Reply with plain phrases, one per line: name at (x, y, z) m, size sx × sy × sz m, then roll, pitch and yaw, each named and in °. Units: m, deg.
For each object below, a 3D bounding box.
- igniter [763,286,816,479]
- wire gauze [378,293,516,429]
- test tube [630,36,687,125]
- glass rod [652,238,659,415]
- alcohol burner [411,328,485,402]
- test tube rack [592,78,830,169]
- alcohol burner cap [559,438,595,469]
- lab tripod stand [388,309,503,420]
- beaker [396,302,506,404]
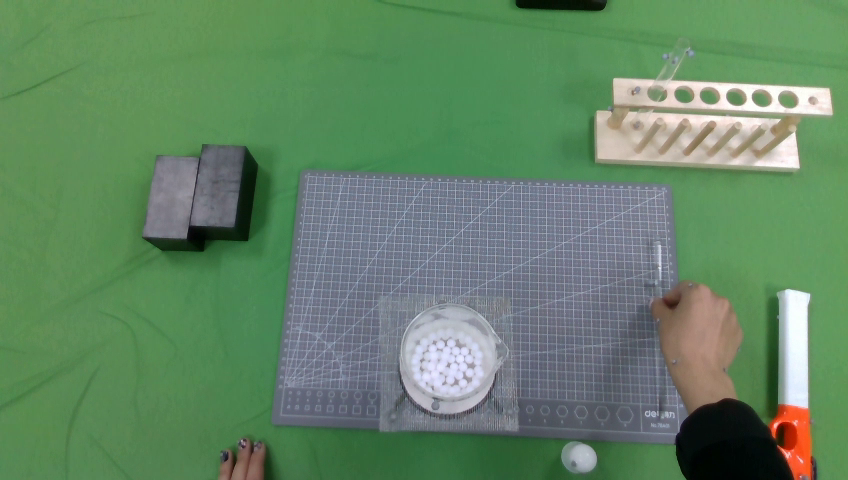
igniter at (0.391, 0.185, 0.649) m, size 0.057 × 0.025 × 0.275 m, roll 12°, pitch 74°, yaw -7°
wire gauze at (0.019, 0.108, 0.546) m, size 0.125 × 0.011 × 0.120 m, roll -1°, pitch 71°, yaw 2°
test tube at (0.257, -0.172, 0.673) m, size 0.017 × 0.151 × 0.017 m, roll 0°, pitch 70°, yaw 2°
glass rod at (0.260, 0.094, 0.681) m, size 0.008 × 0.008 × 0.198 m, roll 5°, pitch 76°, yaw 1°
alcohol burner at (0.025, 0.126, 0.620) m, size 0.078 × 0.120 × 0.077 m, roll 0°, pitch 72°, yaw -1°
test tube rack at (0.330, -0.135, 0.713) m, size 0.242 × 0.085 × 0.066 m, roll 3°, pitch 73°, yaw 1°
alcohol burner cap at (0.161, 0.224, 0.632) m, size 0.034 × 0.048 × 0.033 m, roll 0°, pitch 73°, yaw 1°
lab tripod stand at (0.019, 0.130, 0.609) m, size 0.148 × 0.132 × 0.147 m, roll -1°, pitch 72°, yaw 2°
beaker at (0.021, 0.097, 0.499) m, size 0.084 × 0.101 × 0.073 m, roll -2°, pitch 72°, yaw 0°
